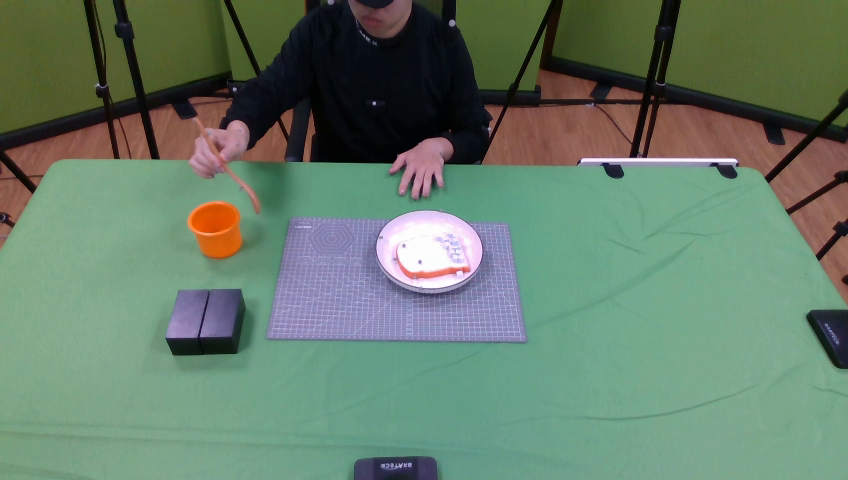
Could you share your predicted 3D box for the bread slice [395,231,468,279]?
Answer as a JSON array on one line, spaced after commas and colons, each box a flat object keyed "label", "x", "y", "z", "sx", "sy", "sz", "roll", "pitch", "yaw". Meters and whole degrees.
[{"label": "bread slice", "x": 0.011, "y": 0.030, "z": 1.158, "sx": 0.132, "sy": 0.019, "sz": 0.104, "roll": -9, "pitch": 47, "yaw": -14}]

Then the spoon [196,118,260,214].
[{"label": "spoon", "x": -0.339, "y": -0.125, "z": 1.055, "sx": 0.021, "sy": 0.195, "sz": 0.041, "roll": -37, "pitch": 30, "yaw": -9}]

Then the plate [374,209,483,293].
[{"label": "plate", "x": 0.009, "y": 0.024, "z": 1.160, "sx": 0.209, "sy": 0.038, "sz": 0.208, "roll": 2, "pitch": 46, "yaw": -2}]
